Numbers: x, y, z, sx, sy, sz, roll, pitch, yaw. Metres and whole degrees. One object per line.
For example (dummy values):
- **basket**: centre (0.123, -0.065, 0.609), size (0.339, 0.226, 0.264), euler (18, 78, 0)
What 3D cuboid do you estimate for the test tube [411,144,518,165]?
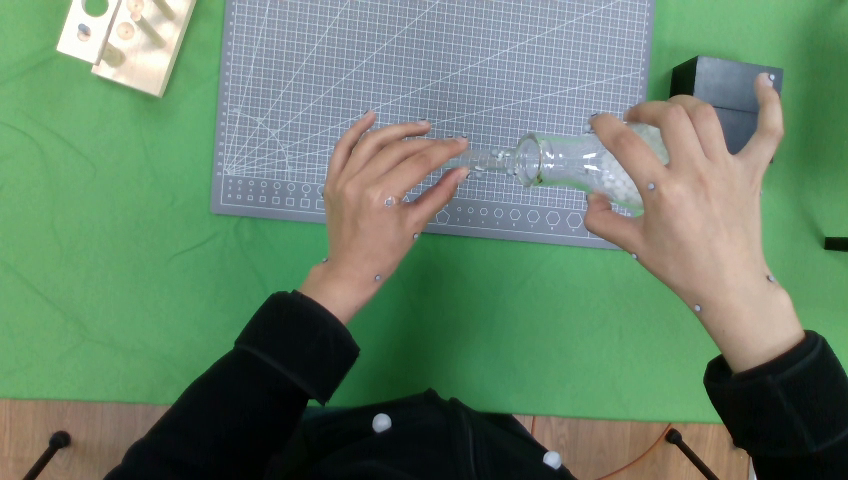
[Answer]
- **test tube**: centre (0.027, -0.070, 0.491), size (0.017, 0.149, 0.017), euler (-5, 100, -27)

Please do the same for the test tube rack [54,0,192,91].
- **test tube rack**: centre (-0.246, -0.270, 0.554), size (0.067, 0.085, 0.242), euler (19, 90, -8)

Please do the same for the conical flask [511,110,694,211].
- **conical flask**: centre (0.124, -0.059, 0.433), size (0.122, 0.075, 0.075), euler (0, 92, -23)
